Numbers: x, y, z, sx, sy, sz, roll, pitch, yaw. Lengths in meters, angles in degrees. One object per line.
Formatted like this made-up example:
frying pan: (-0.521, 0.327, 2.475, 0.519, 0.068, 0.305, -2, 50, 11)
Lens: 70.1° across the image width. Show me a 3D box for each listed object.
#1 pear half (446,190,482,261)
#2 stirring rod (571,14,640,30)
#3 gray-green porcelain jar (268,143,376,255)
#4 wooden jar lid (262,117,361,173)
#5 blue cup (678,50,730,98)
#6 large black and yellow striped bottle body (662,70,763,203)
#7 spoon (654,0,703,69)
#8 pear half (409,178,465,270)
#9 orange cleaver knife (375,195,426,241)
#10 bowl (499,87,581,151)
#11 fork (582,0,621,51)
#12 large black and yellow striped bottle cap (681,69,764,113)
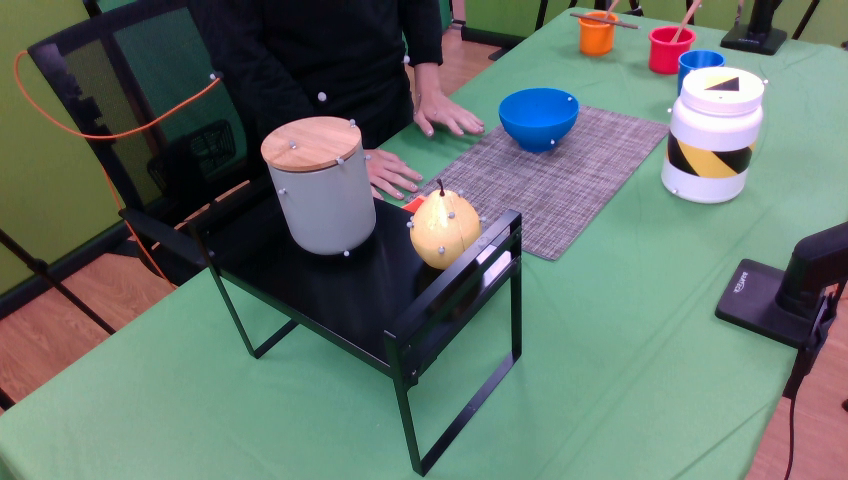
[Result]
pear half: (0.046, -0.020, 0.665, 0.031, 0.088, 0.070, -17, 38, -8)
stirring rod: (0.419, -0.508, 1.404, 0.174, 0.006, 0.014, 28, 55, 35)
gray-green porcelain jar: (-0.114, -0.055, 0.704, 0.106, 0.127, 0.105, -4, 40, 4)
wooden jar lid: (-0.122, -0.101, 0.663, 0.108, 0.021, 0.108, -3, 39, 3)
blue cup: (0.542, -0.310, 1.194, 0.092, 0.101, 0.092, -6, 41, 6)
large black and yellow striped bottle body: (0.464, -0.166, 0.976, 0.131, 0.185, 0.130, -5, 41, 5)
spoon: (0.569, -0.462, 1.335, 0.041, 0.022, 0.193, 34, 99, 37)
pear half: (0.010, -0.019, 0.654, 0.056, 0.110, 0.076, -17, 37, -9)
orange cleaver knife: (-0.037, -0.029, 0.973, 0.210, 0.077, 0.012, -8, 33, 50)
bowl: (0.220, -0.223, 1.156, 0.151, 0.077, 0.150, -4, 41, 4)
fork: (0.446, -0.538, 1.438, 0.207, 0.019, 0.028, -57, 36, 12)
large black and yellow striped bottle cap: (0.453, -0.229, 0.921, 0.115, 0.019, 0.114, -4, 39, 4)
